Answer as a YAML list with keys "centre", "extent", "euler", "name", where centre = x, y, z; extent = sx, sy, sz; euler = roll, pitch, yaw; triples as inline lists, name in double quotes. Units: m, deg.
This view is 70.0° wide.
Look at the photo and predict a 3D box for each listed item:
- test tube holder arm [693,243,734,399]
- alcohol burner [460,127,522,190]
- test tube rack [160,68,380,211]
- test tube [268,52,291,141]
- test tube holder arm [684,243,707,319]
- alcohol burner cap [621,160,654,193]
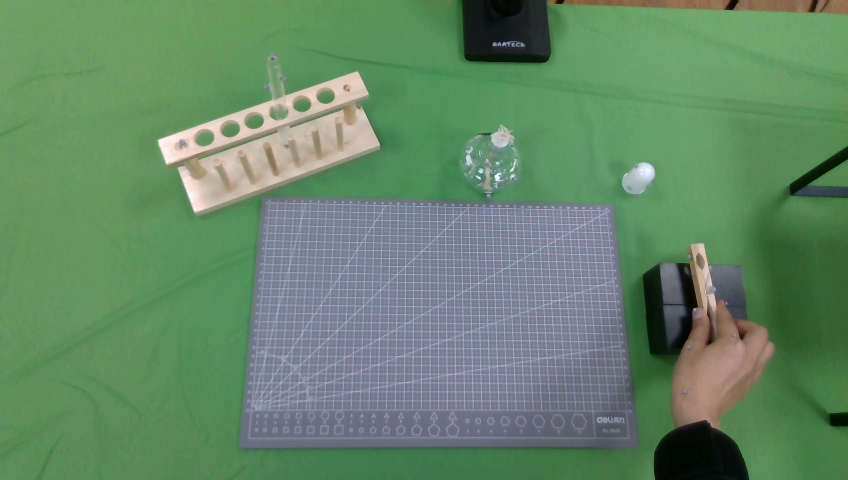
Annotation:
- centre: [0.326, 0.089, 0.688]
  extent: [0.013, 0.015, 0.177]
  euler: [-9, 73, 5]
  name: "test tube holder arm"
- centre: [0.085, -0.108, 0.739]
  extent: [0.078, 0.119, 0.077]
  euler: [2, 73, -5]
  name: "alcohol burner"
- centre: [-0.178, -0.121, 0.737]
  extent: [0.242, 0.085, 0.066]
  euler: [-22, 75, -11]
  name: "test tube rack"
- centre: [-0.165, -0.159, 0.698]
  extent: [0.017, 0.151, 0.017]
  euler: [3, 65, -7]
  name: "test tube"
- centre: [0.316, 0.047, 0.701]
  extent: [0.010, 0.015, 0.087]
  euler: [-7, 73, 6]
  name: "test tube holder arm"
- centre: [0.278, -0.084, 0.783]
  extent: [0.034, 0.048, 0.033]
  euler: [1, 72, -2]
  name: "alcohol burner cap"
